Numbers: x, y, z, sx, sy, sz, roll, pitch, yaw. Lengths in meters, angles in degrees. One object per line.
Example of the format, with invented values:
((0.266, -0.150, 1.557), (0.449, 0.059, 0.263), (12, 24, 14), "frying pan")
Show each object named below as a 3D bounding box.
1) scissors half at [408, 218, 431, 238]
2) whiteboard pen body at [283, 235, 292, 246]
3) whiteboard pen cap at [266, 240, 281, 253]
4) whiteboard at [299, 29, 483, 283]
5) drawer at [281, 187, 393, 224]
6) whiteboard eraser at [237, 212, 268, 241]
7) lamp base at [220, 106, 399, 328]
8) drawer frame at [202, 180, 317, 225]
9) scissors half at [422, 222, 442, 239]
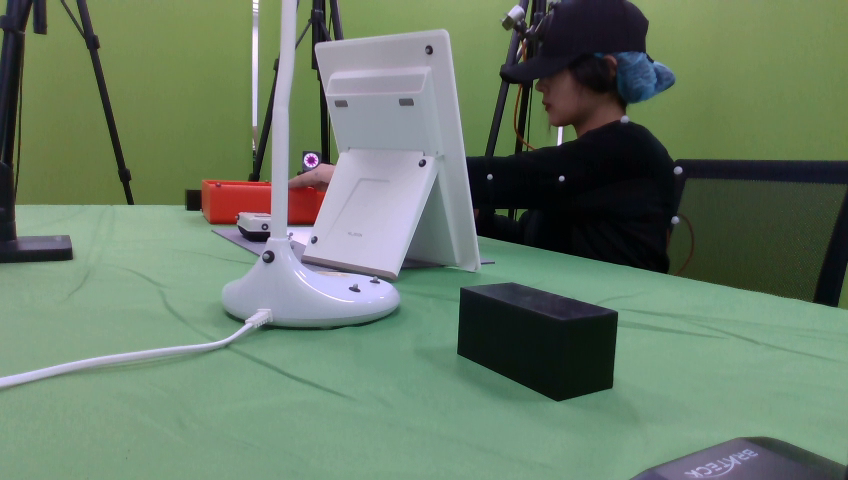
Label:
((-0.006, -0.023, 1.217), (0.040, 0.013, 0.174), (12, 11, -12), "scissors half")
((-0.206, 0.005, 0.872), (0.017, 0.017, 0.140), (2, 4, -6), "whiteboard pen body")
((-0.202, 0.009, 0.813), (0.018, 0.018, 0.033), (1, 3, -8), "whiteboard pen cap")
((-0.074, -0.082, 0.742), (0.216, 0.305, 0.144), (9, 29, 38), "whiteboard")
((-0.200, -0.082, 1.371), (0.213, 0.073, 0.193), (0, 9, -24), "drawer")
((-0.272, -0.023, 0.998), (0.056, 0.042, 0.112), (-3, 9, -26), "whiteboard eraser")
((-0.101, -0.023, 0.531), (0.160, 0.180, 0.179), (4, 10, 10), "lamp base")
((-0.356, -0.084, 1.300), (0.214, 0.082, 0.200), (-2, 9, -25), "drawer frame")
((0.013, -0.017, 1.218), (0.040, 0.013, 0.175), (20, 10, 3), "scissors half")
